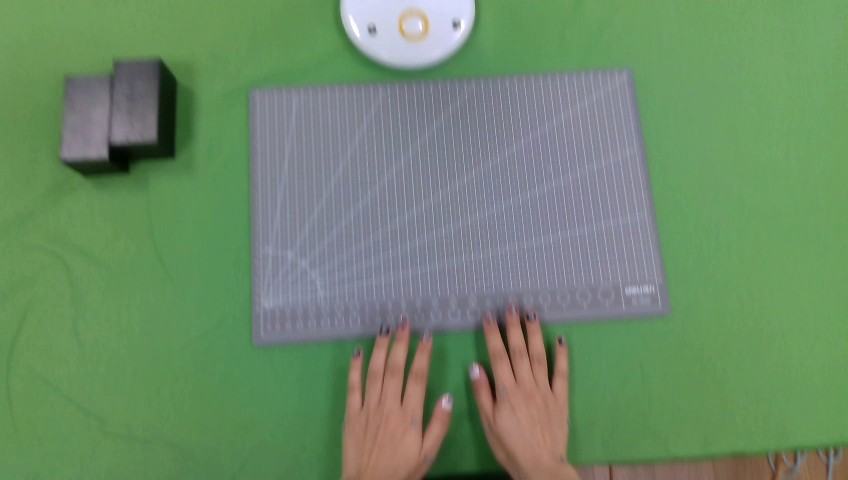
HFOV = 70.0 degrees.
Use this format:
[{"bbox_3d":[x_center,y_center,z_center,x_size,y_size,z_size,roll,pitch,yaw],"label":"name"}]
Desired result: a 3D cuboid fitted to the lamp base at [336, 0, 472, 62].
[{"bbox_3d":[-0.026,-0.314,0.646,0.161,0.181,0.178,-17,76,-5],"label":"lamp base"}]
